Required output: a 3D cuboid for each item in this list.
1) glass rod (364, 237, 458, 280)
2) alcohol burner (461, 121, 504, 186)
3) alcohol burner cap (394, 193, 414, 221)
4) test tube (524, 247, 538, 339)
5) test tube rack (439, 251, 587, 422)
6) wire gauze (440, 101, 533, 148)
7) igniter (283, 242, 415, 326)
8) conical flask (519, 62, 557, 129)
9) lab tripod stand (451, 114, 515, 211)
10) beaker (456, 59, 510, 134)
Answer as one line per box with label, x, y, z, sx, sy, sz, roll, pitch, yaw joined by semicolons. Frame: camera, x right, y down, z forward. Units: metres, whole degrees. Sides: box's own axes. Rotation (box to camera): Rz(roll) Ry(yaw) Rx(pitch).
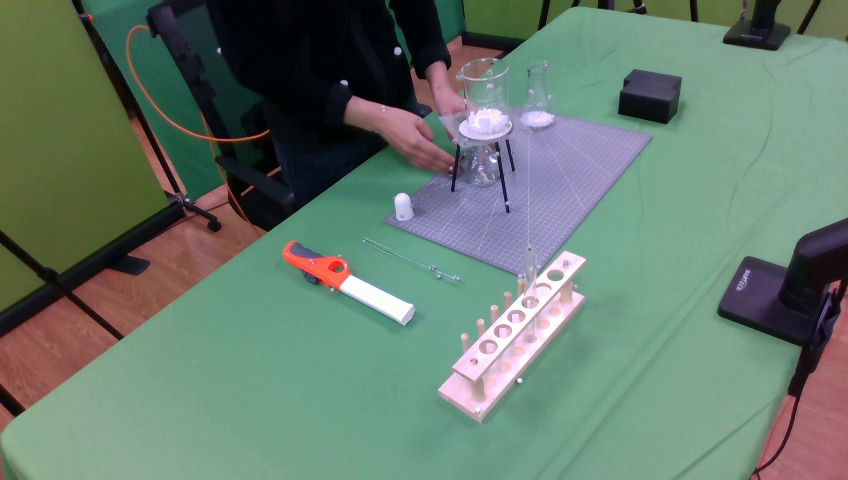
glass rod;-0.025;0.028;0.966;0.198;0.008;0.008;22;50;35
alcohol burner;0.103;-0.157;1.074;0.078;0.119;0.077;-5;38;4
alcohol burner cap;-0.036;-0.059;1.040;0.034;0.048;0.033;-5;41;5
test tube;0.133;0.070;0.749;0.017;0.151;0.017;-5;38;4
test tube rack;0.118;0.111;0.780;0.066;0.085;0.243;26;51;35
wire gauze;0.100;-0.189;0.995;0.125;0.011;0.120;-16;37;-6
igniter;-0.126;0.062;0.931;0.274;0.025;0.057;24;61;33
conical flask;0.225;-0.287;1.198;0.075;0.122;0.075;-6;40;5
lab tripod stand;0.113;-0.140;1.037;0.148;0.132;0.147;-6;38;5
beaker;0.098;-0.226;0.964;0.084;0.101;0.073;-7;39;4
